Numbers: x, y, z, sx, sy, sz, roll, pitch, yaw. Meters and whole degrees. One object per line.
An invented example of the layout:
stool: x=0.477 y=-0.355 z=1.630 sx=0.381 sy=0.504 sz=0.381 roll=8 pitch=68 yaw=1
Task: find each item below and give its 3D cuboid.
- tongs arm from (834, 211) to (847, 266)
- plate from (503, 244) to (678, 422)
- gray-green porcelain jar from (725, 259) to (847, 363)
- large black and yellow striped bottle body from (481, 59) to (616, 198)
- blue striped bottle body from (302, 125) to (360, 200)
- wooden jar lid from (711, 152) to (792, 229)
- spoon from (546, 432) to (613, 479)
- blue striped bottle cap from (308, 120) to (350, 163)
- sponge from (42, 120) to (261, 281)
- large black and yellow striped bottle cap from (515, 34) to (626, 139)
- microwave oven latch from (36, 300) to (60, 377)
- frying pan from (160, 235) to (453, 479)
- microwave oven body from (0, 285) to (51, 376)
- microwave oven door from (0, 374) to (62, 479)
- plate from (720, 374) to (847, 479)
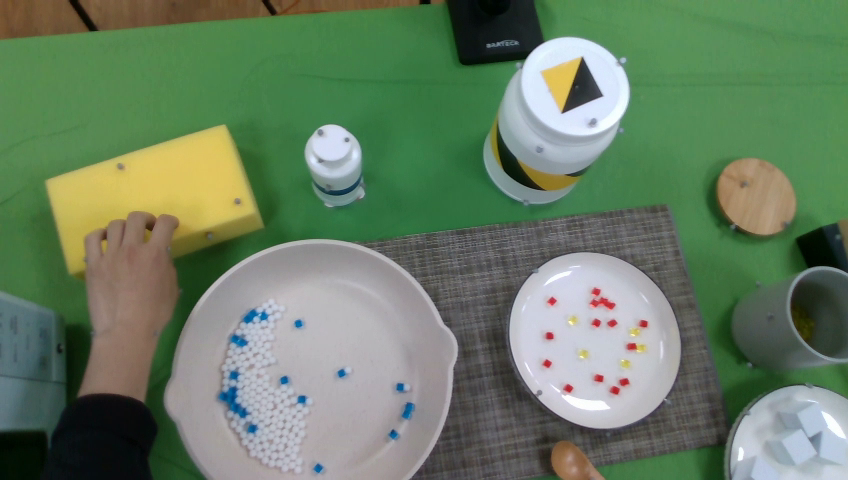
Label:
tongs arm: x=0.568 y=0.147 z=0.724 sx=0.051 sy=0.026 sz=0.384 roll=-13 pitch=87 yaw=-11
plate: x=0.194 y=0.109 z=0.722 sx=0.209 sy=0.038 sz=0.208 roll=1 pitch=75 yaw=-5
gray-green porcelain jar: x=0.428 y=0.088 z=0.708 sx=0.106 sy=0.127 sz=0.105 roll=2 pitch=74 yaw=-5
large black and yellow striped bottle body: x=0.145 y=-0.138 z=0.711 sx=0.131 sy=0.184 sz=0.130 roll=1 pitch=74 yaw=-5
blue striped bottle body: x=-0.107 y=-0.094 z=0.707 sx=0.063 sy=0.121 sz=0.062 roll=1 pitch=75 yaw=-5
wooden jar lid: x=0.432 y=-0.065 z=0.805 sx=0.108 sy=0.021 sz=0.108 roll=1 pitch=76 yaw=-5
spoon: x=0.219 y=0.282 z=0.687 sx=0.193 sy=0.022 sz=0.041 roll=33 pitch=59 yaw=2
blue striped bottle cap: x=-0.103 y=-0.108 z=0.657 sx=0.044 sy=0.021 sz=0.044 roll=1 pitch=72 yaw=-3
sponge: x=-0.311 y=-0.046 z=0.705 sx=0.207 sy=0.061 sz=0.117 roll=-21 pitch=78 yaw=-11
large black and yellow striped bottle cap: x=0.152 y=-0.161 z=0.629 sx=0.115 sy=0.019 sz=0.114 roll=1 pitch=73 yaw=-4
microwave oven latch: x=-0.408 y=0.105 z=0.647 sx=0.030 sy=0.029 sz=0.078 roll=-5 pitch=76 yaw=-7
frying pan: x=-0.101 y=0.235 z=0.626 sx=0.307 sy=0.103 sz=0.484 roll=-10 pitch=68 yaw=-5
microwave oven body: x=-0.519 y=0.266 z=0.493 sx=0.326 sy=0.261 sz=0.439 roll=-7 pitch=76 yaw=-8
microwave oven door: x=-0.369 y=0.288 z=0.497 sx=0.039 sy=0.244 sz=0.353 roll=-8 pitch=75 yaw=-8
plate: x=0.444 y=0.263 z=0.710 sx=0.208 sy=0.039 sz=0.206 roll=1 pitch=75 yaw=-5
